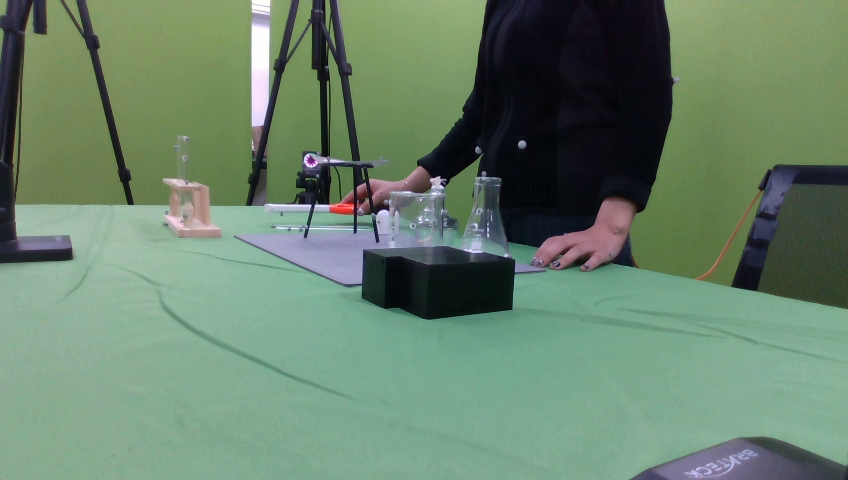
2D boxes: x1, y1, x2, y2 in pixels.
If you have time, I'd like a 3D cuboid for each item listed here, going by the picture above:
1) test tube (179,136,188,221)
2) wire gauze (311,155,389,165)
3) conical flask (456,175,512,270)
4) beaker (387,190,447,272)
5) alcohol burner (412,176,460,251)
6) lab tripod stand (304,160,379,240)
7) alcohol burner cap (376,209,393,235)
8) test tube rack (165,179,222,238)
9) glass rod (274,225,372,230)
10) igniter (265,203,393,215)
[{"bbox_3d":[-0.425,-0.108,1.070,0.017,0.150,0.017,4,9,0],"label":"test tube"},{"bbox_3d":[-0.128,-0.137,1.042,0.122,0.011,0.124,1,8,-18],"label":"wire gauze"},{"bbox_3d":[0.082,-0.025,0.801,0.075,0.122,0.075,2,7,0],"label":"conical flask"},{"bbox_3d":[-0.010,-0.013,0.771,0.074,0.100,0.084,3,7,4],"label":"beaker"},{"bbox_3d":[0.020,-0.043,0.958,0.078,0.119,0.078,4,9,0],"label":"alcohol burner"},{"bbox_3d":[-0.131,-0.071,1.046,0.148,0.131,0.148,4,7,0],"label":"lab tripod stand"},{"bbox_3d":[-0.076,-0.035,1.145,0.034,0.048,0.034,2,8,0],"label":"alcohol burner cap"},{"bbox_3d":[-0.423,-0.062,1.098,0.067,0.085,0.241,-2,9,-28],"label":"test tube rack"},{"bbox_3d":[-0.193,-0.024,1.176,0.201,0.008,0.008,1,7,-31],"label":"glass rod"},{"bbox_3d":[-0.195,-0.066,1.284,0.278,0.025,0.057,-2,7,-30],"label":"igniter"}]
